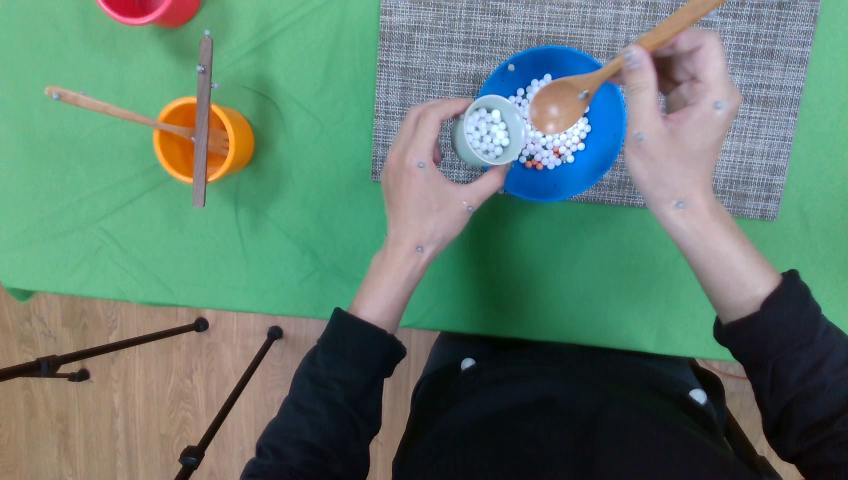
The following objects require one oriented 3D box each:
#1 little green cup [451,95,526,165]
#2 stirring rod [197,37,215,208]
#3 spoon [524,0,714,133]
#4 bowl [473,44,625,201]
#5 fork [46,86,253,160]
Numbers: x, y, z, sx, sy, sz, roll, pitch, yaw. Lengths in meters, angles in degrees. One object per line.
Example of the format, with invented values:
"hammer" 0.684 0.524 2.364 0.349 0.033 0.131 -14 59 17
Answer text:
"little green cup" 0.055 -0.095 0.541 0.062 0.038 0.061 1 88 -25
"stirring rod" -0.229 -0.120 0.635 0.014 0.006 0.176 7 102 6
"spoon" 0.136 -0.127 0.434 0.021 0.193 0.042 -40 95 -28
"bowl" 0.125 -0.120 0.629 0.151 0.076 0.152 1 102 7
"fork" -0.282 -0.123 0.644 0.209 0.018 0.028 14 110 -40
